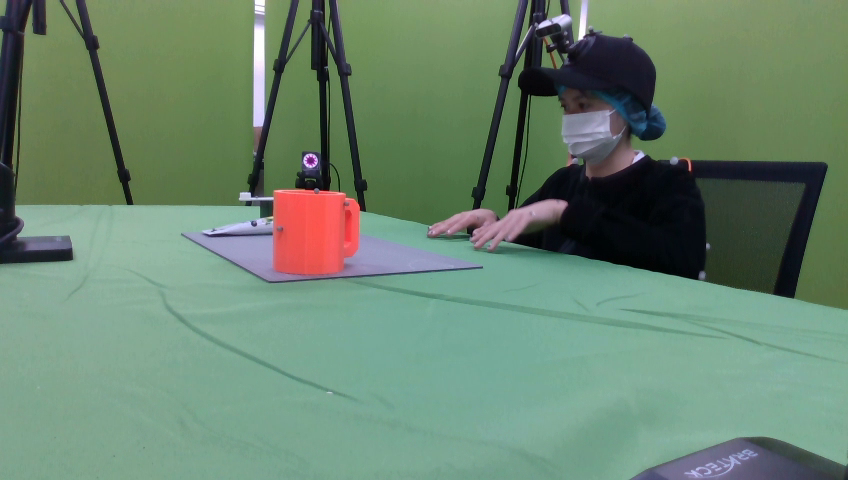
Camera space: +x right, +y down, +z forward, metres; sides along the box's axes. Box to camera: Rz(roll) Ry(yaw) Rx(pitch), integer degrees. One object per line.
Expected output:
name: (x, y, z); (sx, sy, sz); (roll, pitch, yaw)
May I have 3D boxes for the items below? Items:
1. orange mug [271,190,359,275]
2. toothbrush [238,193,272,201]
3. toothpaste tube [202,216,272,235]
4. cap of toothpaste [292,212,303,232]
orange mug: (-0.131, -0.013, 0.754); (0.083, 0.101, 0.127); (8, 13, 38)
toothbrush: (-0.286, -0.087, 1.236); (0.183, 0.016, 0.014); (-1, 3, -30)
toothpaste tube: (-0.296, -0.023, 1.053); (0.166, 0.034, 0.055); (-7, 5, -34)
cap of toothpaste: (-0.229, -0.032, 1.094); (0.011, 0.037, 0.037); (-7, 12, -34)
